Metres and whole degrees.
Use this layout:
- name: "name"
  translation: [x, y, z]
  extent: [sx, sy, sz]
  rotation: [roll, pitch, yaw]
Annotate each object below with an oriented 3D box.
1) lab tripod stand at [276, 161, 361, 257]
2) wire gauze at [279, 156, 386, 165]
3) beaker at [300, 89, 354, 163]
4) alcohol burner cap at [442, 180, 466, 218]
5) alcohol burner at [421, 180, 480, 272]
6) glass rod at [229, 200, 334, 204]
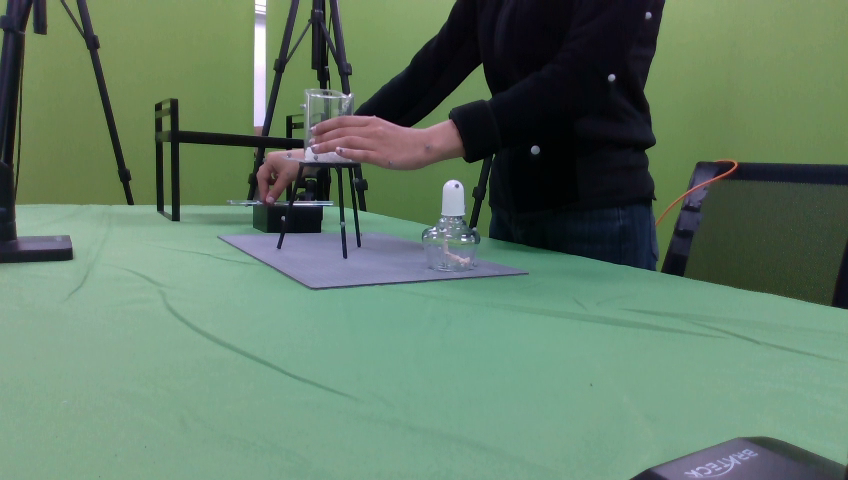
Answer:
- name: "lab tripod stand"
  translation: [-0.143, -0.049, 0.884]
  extent: [0.148, 0.131, 0.148]
  rotation: [2, 9, 0]
- name: "wire gauze"
  translation: [-0.134, -0.114, 0.875]
  extent: [0.122, 0.011, 0.124]
  rotation: [-1, 6, -30]
- name: "beaker"
  translation: [-0.137, -0.161, 0.869]
  extent: [0.083, 0.100, 0.074]
  rotation: [9, 10, 42]
- name: "alcohol burner cap"
  translation: [0.039, -0.053, 0.781]
  extent: [0.034, 0.048, 0.034]
  rotation: [0, 12, 0]
- name: "alcohol burner"
  translation: [0.035, -0.018, 0.785]
  extent: [0.078, 0.119, 0.078]
  rotation: [4, 5, 0]
- name: "glass rod"
  translation: [-0.265, -0.071, 1.143]
  extent: [0.201, 0.008, 0.008]
  rotation: [-2, 9, -30]
